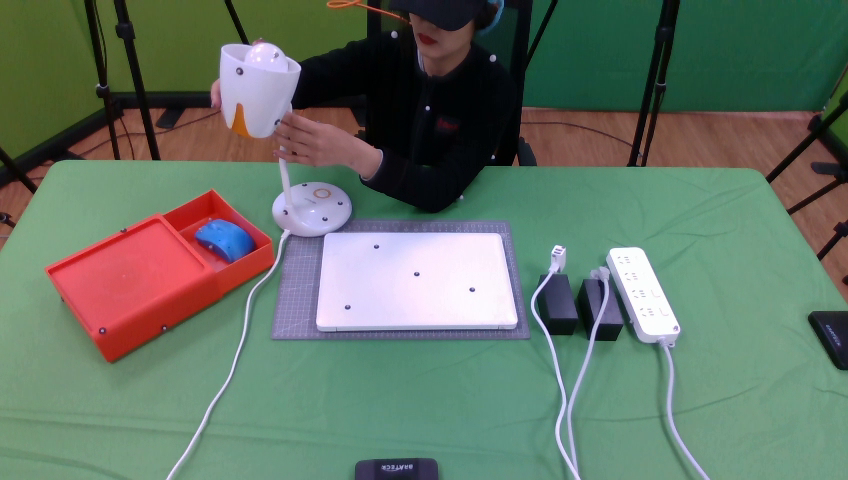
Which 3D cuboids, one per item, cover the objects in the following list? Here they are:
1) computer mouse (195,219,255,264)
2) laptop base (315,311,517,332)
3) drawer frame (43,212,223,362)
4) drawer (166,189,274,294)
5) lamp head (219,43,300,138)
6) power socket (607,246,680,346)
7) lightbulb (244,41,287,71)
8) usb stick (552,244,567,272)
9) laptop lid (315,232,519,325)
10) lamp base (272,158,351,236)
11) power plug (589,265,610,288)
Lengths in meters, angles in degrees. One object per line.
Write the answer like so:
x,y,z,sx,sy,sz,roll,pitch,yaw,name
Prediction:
-0.380,-0.003,1.155,0.116,0.041,0.063,29,51,26,computer mouse
-0.016,0.075,1.125,0.355,0.023,0.234,0,42,-4,laptop base
-0.497,0.073,1.049,0.213,0.083,0.200,-35,57,-31,drawer frame
-0.418,0.021,1.109,0.193,0.073,0.211,37,55,27,drawer
-0.248,-0.216,0.893,0.112,0.123,0.112,14,31,-8,lamp head
0.403,0.096,1.123,0.072,0.033,0.225,-3,46,-5,power socket
-0.237,-0.233,0.879,0.059,0.108,0.059,22,23,-10,lightbulb
0.251,0.039,1.124,0.021,0.059,0.027,14,47,24,usb stick
-0.015,0.065,1.118,0.357,0.013,0.240,1,43,-3,laptop lid
-0.232,-0.112,1.177,0.160,0.181,0.178,18,49,15,lamp base
0.318,0.074,1.108,0.035,0.053,0.072,26,34,13,power plug
